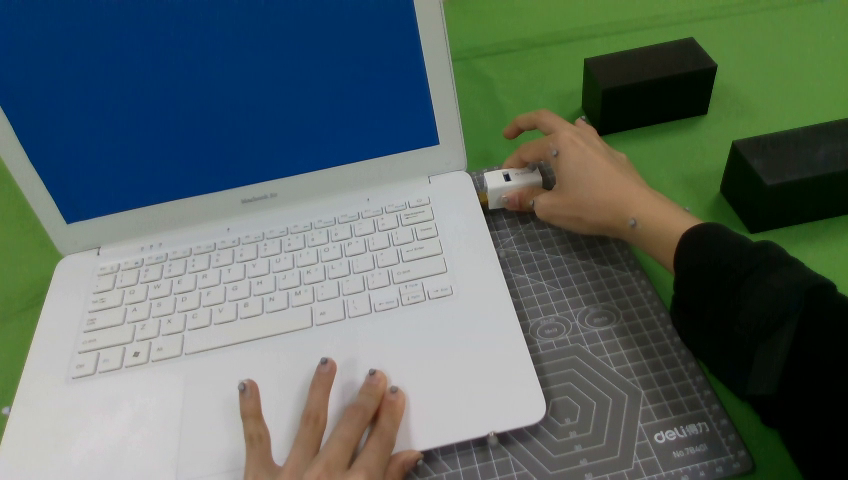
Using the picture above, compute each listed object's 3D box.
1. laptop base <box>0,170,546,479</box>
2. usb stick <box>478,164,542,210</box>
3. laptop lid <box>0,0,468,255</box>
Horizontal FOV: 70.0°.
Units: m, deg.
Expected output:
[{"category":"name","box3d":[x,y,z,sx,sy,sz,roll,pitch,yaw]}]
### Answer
[{"category":"laptop base","box3d":[-0.114,0.065,0.440,0.354,0.023,0.233,-12,50,-1]},{"category":"usb stick","box3d":[0.064,-0.042,0.488,0.059,0.027,0.021,-12,44,1]},{"category":"laptop lid","box3d":[-0.153,-0.117,0.456,0.357,0.244,0.013,-14,32,0]}]
